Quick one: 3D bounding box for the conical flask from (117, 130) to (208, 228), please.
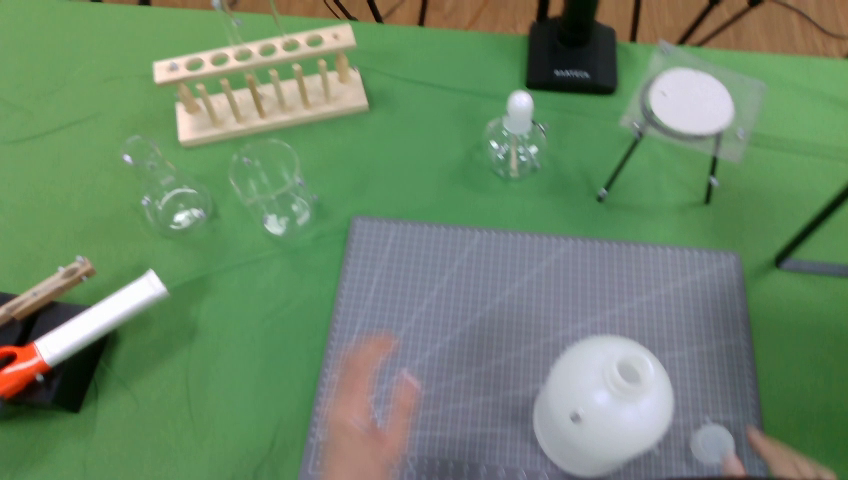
[{"bbox_3d":[-0.299,-0.072,0.681,0.075,0.123,0.074,-1,62,1],"label":"conical flask"}]

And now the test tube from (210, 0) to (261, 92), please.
[{"bbox_3d":[-0.225,-0.235,0.729,0.017,0.151,0.017,-2,59,4],"label":"test tube"}]

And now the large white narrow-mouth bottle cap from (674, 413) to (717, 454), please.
[{"bbox_3d":[0.266,0.189,0.591,0.038,0.024,0.037,-1,64,2],"label":"large white narrow-mouth bottle cap"}]

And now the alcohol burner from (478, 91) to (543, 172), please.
[{"bbox_3d":[0.104,-0.135,0.712,0.078,0.120,0.077,0,61,0],"label":"alcohol burner"}]

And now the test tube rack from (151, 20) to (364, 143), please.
[{"bbox_3d":[-0.204,-0.199,0.766,0.242,0.086,0.066,-13,63,-6],"label":"test tube rack"}]

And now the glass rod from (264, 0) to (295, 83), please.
[{"bbox_3d":[-0.178,-0.259,0.721,0.008,0.201,0.008,-3,56,5],"label":"glass rod"}]

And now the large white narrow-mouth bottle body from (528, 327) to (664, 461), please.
[{"bbox_3d":[0.151,0.130,0.526,0.102,0.196,0.101,-1,64,2],"label":"large white narrow-mouth bottle body"}]

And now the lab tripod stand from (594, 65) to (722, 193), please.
[{"bbox_3d":[0.272,-0.118,0.688,0.148,0.132,0.147,0,62,0],"label":"lab tripod stand"}]

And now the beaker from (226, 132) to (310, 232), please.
[{"bbox_3d":[-0.173,-0.058,0.685,0.074,0.101,0.083,19,65,12],"label":"beaker"}]

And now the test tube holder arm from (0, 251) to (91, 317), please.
[{"bbox_3d":[-0.425,0.067,0.615,0.178,0.015,0.013,-35,68,-17],"label":"test tube holder arm"}]

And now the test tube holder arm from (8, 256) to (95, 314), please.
[{"bbox_3d":[-0.386,0.046,0.626,0.088,0.015,0.010,-34,67,-16],"label":"test tube holder arm"}]

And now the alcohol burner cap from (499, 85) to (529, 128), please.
[{"bbox_3d":[0.102,-0.153,0.680,0.034,0.048,0.033,0,62,0],"label":"alcohol burner cap"}]

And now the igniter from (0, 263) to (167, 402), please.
[{"bbox_3d":[-0.385,0.110,0.590,0.276,0.025,0.057,-35,69,-19],"label":"igniter"}]

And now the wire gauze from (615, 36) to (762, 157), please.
[{"bbox_3d":[0.278,-0.151,0.629,0.121,0.011,0.124,26,67,12],"label":"wire gauze"}]
